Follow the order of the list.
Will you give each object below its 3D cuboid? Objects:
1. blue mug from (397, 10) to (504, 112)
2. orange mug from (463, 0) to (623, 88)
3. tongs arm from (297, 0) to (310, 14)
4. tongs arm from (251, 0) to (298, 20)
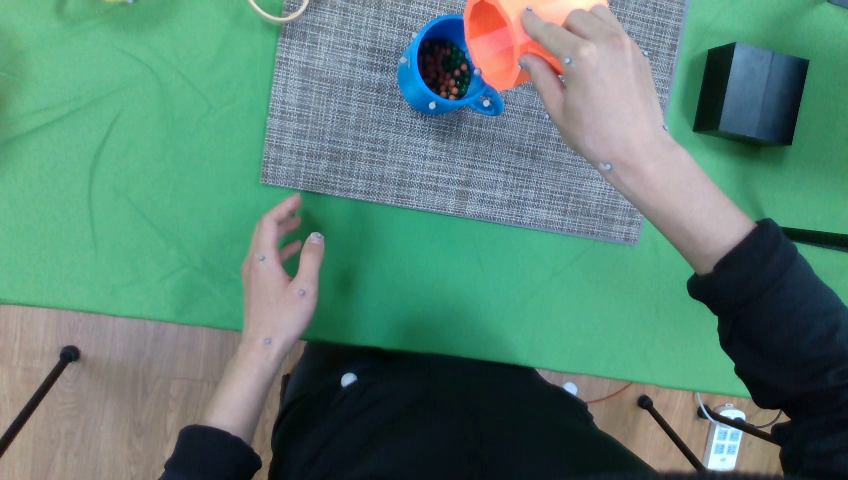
[{"bbox_3d":[0.033,-0.169,0.620,0.117,0.105,0.082,35,90,-13],"label":"blue mug"},{"bbox_3d":[0.105,-0.183,0.523,0.101,0.124,0.084,-23,134,-14],"label":"orange mug"},{"bbox_3d":[-0.160,-0.417,0.568,0.028,0.027,0.389,-18,108,-16],"label":"tongs arm"},{"bbox_3d":[-0.235,-0.381,0.555,0.051,0.026,0.387,-31,109,-9],"label":"tongs arm"}]
